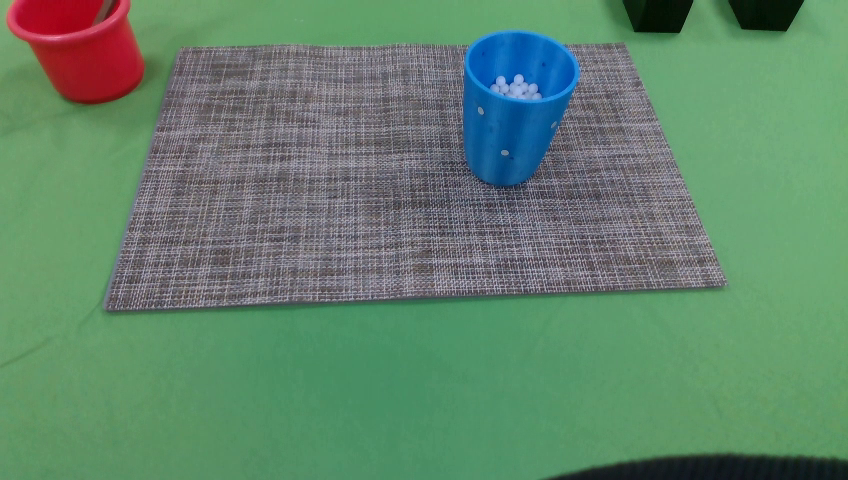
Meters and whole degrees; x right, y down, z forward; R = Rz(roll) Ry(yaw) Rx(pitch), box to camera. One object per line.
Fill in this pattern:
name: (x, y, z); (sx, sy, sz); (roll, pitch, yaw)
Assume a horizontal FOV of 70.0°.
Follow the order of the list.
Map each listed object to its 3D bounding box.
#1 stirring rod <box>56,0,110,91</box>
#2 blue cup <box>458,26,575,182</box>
stirring rod: (-0.279, -0.207, 0.526); (0.014, 0.006, 0.176); (39, 102, 28)
blue cup: (0.065, -0.101, 0.480); (0.093, 0.101, 0.091); (2, 53, -3)
